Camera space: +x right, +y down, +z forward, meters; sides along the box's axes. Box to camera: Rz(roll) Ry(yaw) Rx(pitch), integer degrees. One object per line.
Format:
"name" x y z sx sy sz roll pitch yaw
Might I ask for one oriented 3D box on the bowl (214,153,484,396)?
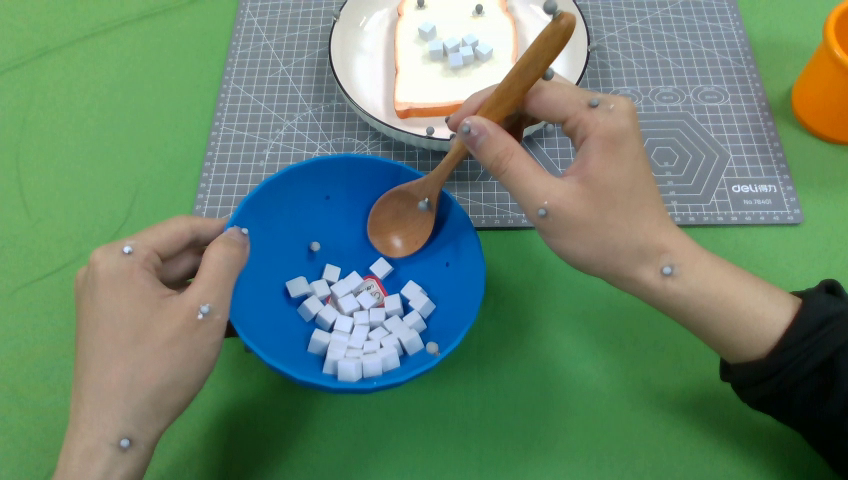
"bowl" -0.045 0.030 0.372 0.152 0.077 0.150 5 60 -8

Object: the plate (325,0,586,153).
"plate" 0.025 -0.153 0.500 0.209 0.038 0.207 -1 62 3

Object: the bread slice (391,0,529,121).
"bread slice" 0.022 -0.156 0.505 0.107 0.018 0.133 -7 64 0

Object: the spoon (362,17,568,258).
"spoon" 0.015 -0.044 0.331 0.041 0.194 0.021 45 49 0
